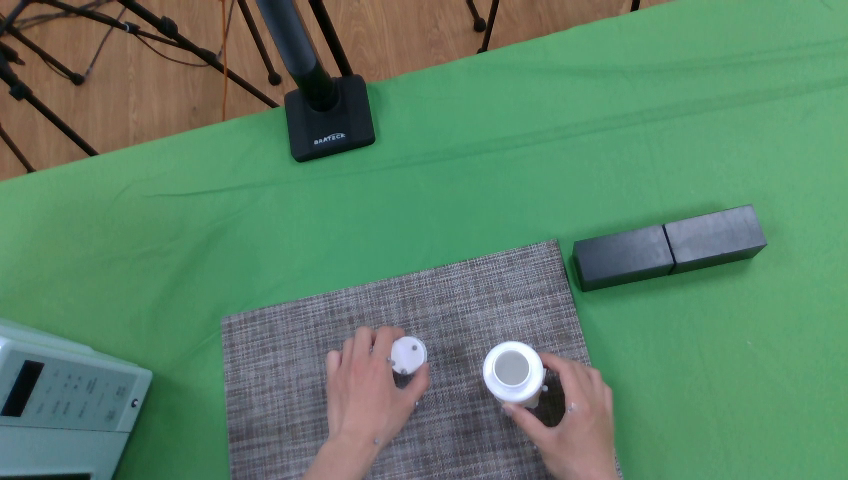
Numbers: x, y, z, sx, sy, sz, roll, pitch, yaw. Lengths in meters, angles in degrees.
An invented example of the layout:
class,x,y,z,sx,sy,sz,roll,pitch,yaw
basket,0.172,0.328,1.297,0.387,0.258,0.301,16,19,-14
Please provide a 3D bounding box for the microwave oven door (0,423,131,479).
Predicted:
class,x,y,z,sx,sy,sz,roll,pitch,yaw
microwave oven door,-0.451,0.356,0.604,0.039,0.245,0.354,13,74,15

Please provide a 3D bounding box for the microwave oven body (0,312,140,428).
class,x,y,z,sx,sy,sz,roll,pitch,yaw
microwave oven body,-0.576,0.287,0.655,0.325,0.262,0.440,14,75,14

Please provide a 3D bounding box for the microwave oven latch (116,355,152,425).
class,x,y,z,sx,sy,sz,roll,pitch,yaw
microwave oven latch,-0.369,0.188,0.755,0.030,0.030,0.079,16,76,14

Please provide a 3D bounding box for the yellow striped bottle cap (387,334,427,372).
class,x,y,z,sx,sy,sz,roll,pitch,yaw
yellow striped bottle cap,-0.020,0.131,0.703,0.044,0.019,0.044,-2,82,13

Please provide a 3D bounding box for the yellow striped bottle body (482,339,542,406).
class,x,y,z,sx,sy,sz,roll,pitch,yaw
yellow striped bottle body,0.097,0.144,0.658,0.063,0.121,0.062,-3,70,9
